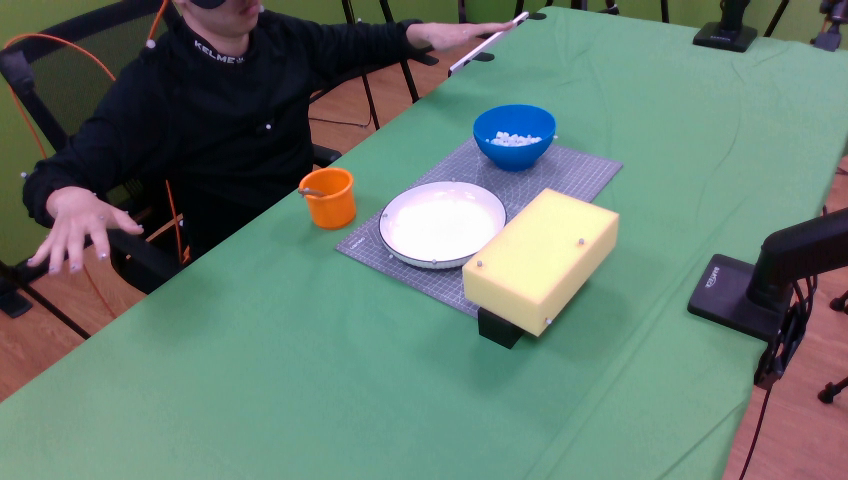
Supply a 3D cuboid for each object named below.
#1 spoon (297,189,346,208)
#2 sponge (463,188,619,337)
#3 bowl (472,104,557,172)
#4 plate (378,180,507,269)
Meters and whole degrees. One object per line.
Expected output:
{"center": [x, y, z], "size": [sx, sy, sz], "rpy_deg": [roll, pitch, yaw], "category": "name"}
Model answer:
{"center": [-0.169, -0.069, 0.979], "size": [0.041, 0.194, 0.021], "rpy_deg": [1, 85, 10], "category": "spoon"}
{"center": [0.160, 0.022, 0.814], "size": [0.117, 0.061, 0.207], "rpy_deg": [24, 50, 32], "category": "sponge"}
{"center": [0.165, -0.178, 1.105], "size": [0.151, 0.077, 0.150], "rpy_deg": [-4, 40, 4], "category": "bowl"}
{"center": [0.031, -0.022, 0.974], "size": [0.209, 0.038, 0.208], "rpy_deg": [-4, 40, 4], "category": "plate"}
